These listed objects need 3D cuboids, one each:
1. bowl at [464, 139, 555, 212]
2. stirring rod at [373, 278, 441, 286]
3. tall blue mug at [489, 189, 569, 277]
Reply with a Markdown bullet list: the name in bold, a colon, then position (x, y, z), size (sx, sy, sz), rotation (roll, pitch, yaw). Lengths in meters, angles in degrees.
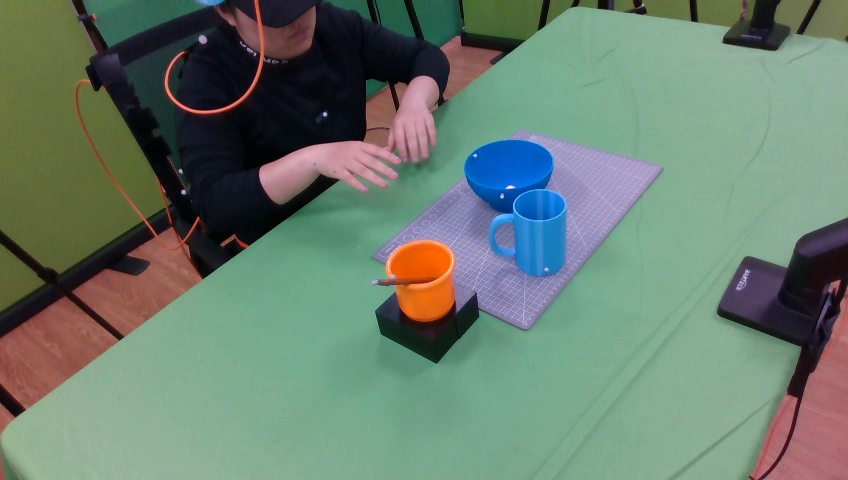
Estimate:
- **bowl**: position (0.145, -0.100, 1.025), size (0.151, 0.077, 0.150), rotation (-5, 40, 5)
- **stirring rod**: position (-0.018, 0.052, 0.757), size (0.014, 0.006, 0.177), rotation (10, 2, 24)
- **tall blue mug**: position (0.158, -0.005, 0.886), size (0.107, 0.108, 0.077), rotation (-23, 43, -16)
